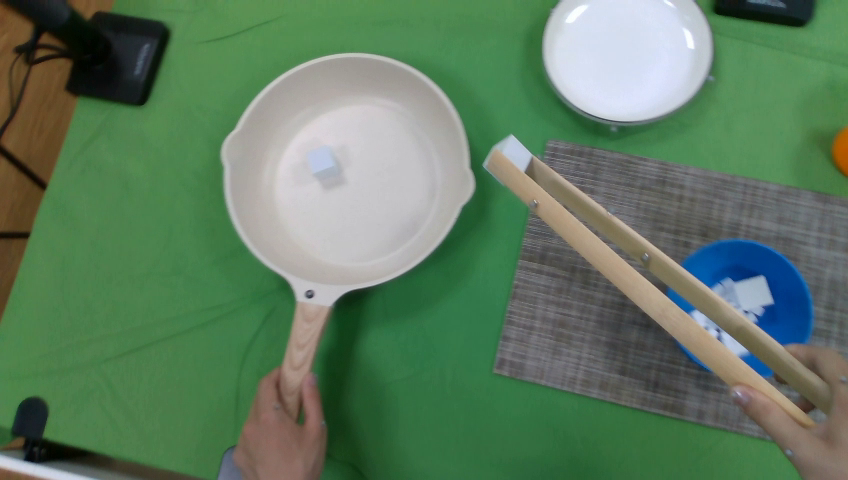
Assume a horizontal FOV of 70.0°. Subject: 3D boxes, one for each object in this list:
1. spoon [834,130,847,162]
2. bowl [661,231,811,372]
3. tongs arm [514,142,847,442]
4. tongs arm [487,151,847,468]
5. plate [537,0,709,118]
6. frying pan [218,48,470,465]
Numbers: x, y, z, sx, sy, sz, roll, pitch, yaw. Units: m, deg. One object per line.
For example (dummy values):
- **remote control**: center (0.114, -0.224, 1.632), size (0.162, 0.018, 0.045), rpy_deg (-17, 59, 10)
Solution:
- **spoon**: center (0.554, -0.150, 0.667), size (0.022, 0.194, 0.041), rpy_deg (-11, 68, -43)
- **bowl**: center (0.332, 0.071, 0.673), size (0.151, 0.077, 0.150), rpy_deg (-1, 79, 4)
- **tongs arm**: center (0.210, 0.033, 0.535), size (0.051, 0.027, 0.381), rpy_deg (-26, 59, -40)
- **tongs arm**: center (0.189, 0.042, 0.519), size (0.028, 0.028, 0.384), rpy_deg (-20, 55, -41)
- **plate**: center (0.247, -0.248, 0.765), size (0.207, 0.039, 0.206), rpy_deg (-1, 79, 5)
- **frying pan**: center (-0.116, 0.010, 0.710), size (0.306, 0.103, 0.485), rpy_deg (11, 72, 7)
